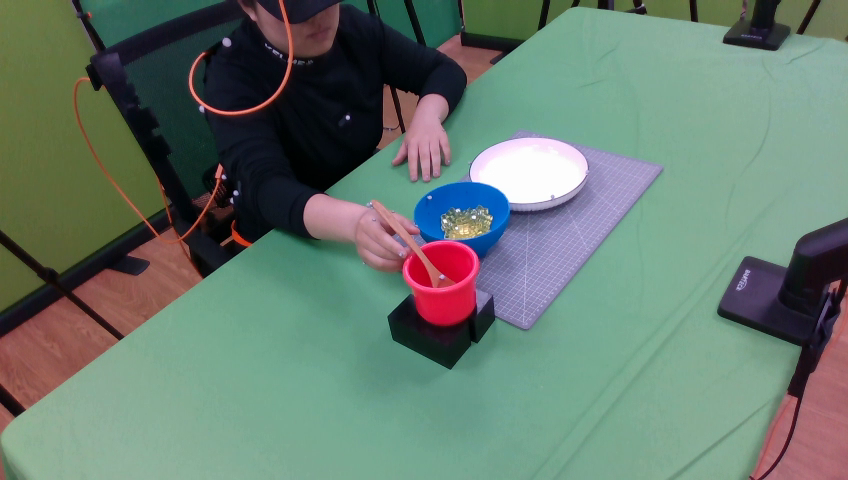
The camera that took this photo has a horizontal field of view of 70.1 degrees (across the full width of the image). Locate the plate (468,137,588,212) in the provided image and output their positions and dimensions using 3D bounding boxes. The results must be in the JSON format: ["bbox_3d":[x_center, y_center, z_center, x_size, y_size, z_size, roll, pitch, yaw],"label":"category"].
[{"bbox_3d":[0.182,-0.112,1.064,0.207,0.039,0.206,-5,40,5],"label":"plate"}]

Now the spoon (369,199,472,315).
[{"bbox_3d":[-0.006,0.020,0.787,0.042,0.021,0.194,-39,92,-29],"label":"spoon"}]

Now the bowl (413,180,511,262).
[{"bbox_3d":[0.062,-0.019,0.944,0.151,0.077,0.150,-5,40,5],"label":"bowl"}]
